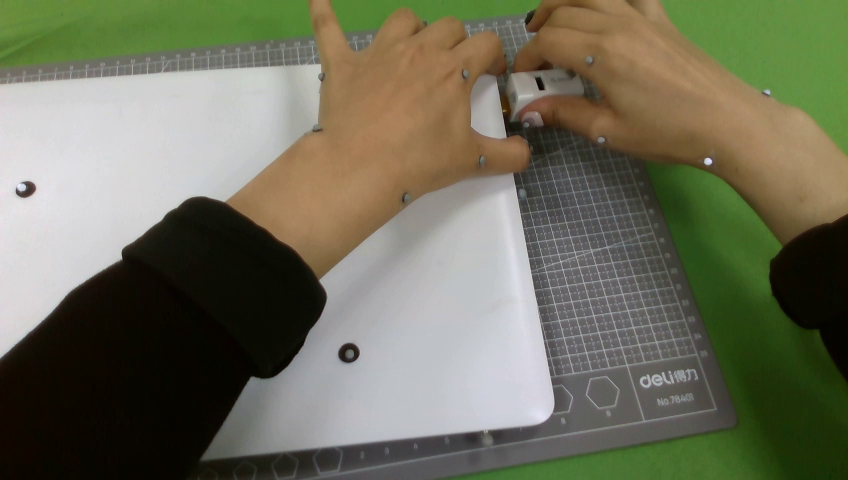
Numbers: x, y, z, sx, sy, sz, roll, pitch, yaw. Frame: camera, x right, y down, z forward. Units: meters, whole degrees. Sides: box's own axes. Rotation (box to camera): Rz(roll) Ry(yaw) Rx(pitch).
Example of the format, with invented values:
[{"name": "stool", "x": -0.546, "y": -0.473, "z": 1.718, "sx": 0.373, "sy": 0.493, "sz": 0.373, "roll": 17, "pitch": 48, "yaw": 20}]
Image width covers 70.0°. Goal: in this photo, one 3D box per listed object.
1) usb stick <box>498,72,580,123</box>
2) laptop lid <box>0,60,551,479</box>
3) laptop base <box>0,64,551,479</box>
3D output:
[{"name": "usb stick", "x": 0.067, "y": -0.090, "z": 0.386, "sx": 0.059, "sy": 0.027, "sz": 0.021, "roll": -8, "pitch": 68, "yaw": -7}, {"name": "laptop lid", "x": -0.120, "y": 0.002, "z": 0.335, "sx": 0.357, "sy": 0.013, "sz": 0.239, "roll": -3, "pitch": 67, "yaw": -4}, {"name": "laptop base", "x": -0.120, "y": 0.005, "z": 0.346, "sx": 0.355, "sy": 0.023, "sz": 0.233, "roll": -4, "pitch": 68, "yaw": -4}]
